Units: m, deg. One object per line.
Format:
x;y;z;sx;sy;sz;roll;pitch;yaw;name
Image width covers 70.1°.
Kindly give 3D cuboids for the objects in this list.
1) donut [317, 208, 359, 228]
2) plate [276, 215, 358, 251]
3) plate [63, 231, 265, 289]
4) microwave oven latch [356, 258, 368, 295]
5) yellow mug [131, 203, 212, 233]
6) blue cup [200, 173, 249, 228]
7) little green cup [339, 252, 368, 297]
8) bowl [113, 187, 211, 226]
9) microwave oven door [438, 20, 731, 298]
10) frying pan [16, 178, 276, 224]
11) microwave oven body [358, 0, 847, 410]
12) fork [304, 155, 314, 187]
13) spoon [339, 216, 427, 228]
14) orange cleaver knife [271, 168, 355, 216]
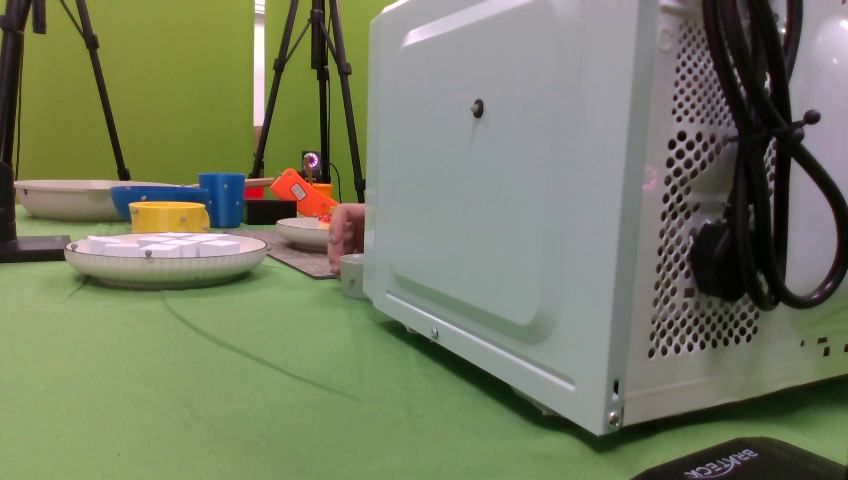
-0.118;-0.024;0.954;0.099;0.048;0.099;6;7;0;donut
-0.126;-0.012;0.950;0.209;0.038;0.209;2;7;0;plate
-0.288;0.021;0.687;0.208;0.039;0.207;2;8;0;plate
-0.019;0.031;0.529;0.079;0.029;0.030;-1;7;-26;microwave oven latch
-0.356;-0.020;0.878;0.099;0.064;0.131;4;7;22;yellow mug
-0.380;-0.076;1.154;0.093;0.100;0.092;0;8;0;blue cup
-0.058;0.035;0.625;0.061;0.038;0.061;4;6;0;little green cup
-0.436;-0.046;1.013;0.151;0.077;0.151;2;7;0;bowl
0.181;-0.076;0.618;0.358;0.243;0.039;-2;8;-28;microwave oven door
-0.554;-0.096;1.266;0.490;0.102;0.305;-10;13;-24;frying pan
0.210;-0.051;0.471;0.444;0.260;0.324;-1;7;-28;microwave oven body
-0.268;-0.134;1.446;0.028;0.018;0.207;2;-36;-1;fork
-0.087;-0.041;1.268;0.193;0.021;0.041;4;24;13;spoon
-0.236;-0.084;1.333;0.212;0.077;0.012;31;-10;-32;orange cleaver knife
